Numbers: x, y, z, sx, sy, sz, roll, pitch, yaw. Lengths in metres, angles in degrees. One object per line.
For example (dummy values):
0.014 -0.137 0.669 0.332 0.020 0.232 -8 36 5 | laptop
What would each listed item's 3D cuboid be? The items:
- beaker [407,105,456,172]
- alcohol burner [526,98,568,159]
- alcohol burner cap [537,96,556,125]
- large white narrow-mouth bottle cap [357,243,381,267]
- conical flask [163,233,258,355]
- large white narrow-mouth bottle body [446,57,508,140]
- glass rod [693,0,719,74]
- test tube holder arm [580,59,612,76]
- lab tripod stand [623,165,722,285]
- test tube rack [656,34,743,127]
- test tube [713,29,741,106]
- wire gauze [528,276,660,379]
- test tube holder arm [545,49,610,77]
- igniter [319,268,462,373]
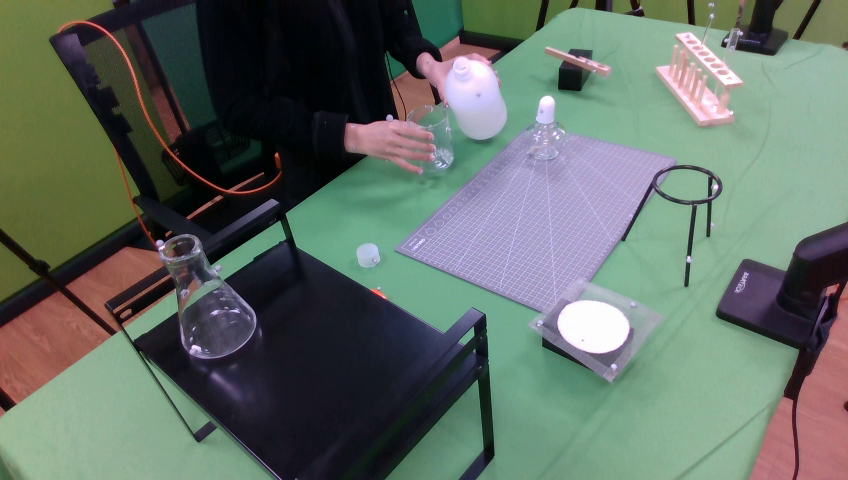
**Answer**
0.017 -0.182 1.084 0.074 0.101 0.083 -1 44 14 | beaker
0.228 -0.210 1.118 0.078 0.119 0.077 -5 43 5 | alcohol burner
0.223 -0.237 1.095 0.034 0.048 0.033 -1 42 1 | alcohol burner cap
-0.088 0.023 0.972 0.038 0.024 0.037 -4 41 4 | large white narrow-mouth bottle cap
-0.217 0.051 0.601 0.075 0.122 0.075 -4 40 4 | conical flask
0.095 -0.272 1.125 0.101 0.196 0.101 -5 70 16 | large white narrow-mouth bottle body
0.560 -0.401 1.214 0.008 0.200 0.008 -1 48 2 | glass rod
0.363 -0.368 1.289 0.010 0.015 0.087 -27 43 -29 | test tube holder arm
0.365 -0.030 0.874 0.148 0.132 0.147 -6 41 6 | lab tripod stand
0.553 -0.331 1.233 0.067 0.085 0.241 -7 40 2 | test tube rack
0.573 -0.324 1.146 0.017 0.151 0.017 -3 39 3 | test tube
0.213 0.103 0.763 0.124 0.011 0.122 30 52 35 | wire gauze
0.331 -0.387 1.315 0.013 0.015 0.177 -26 43 -29 | test tube holder arm
-0.059 0.107 0.862 0.274 0.025 0.057 28 62 34 | igniter
